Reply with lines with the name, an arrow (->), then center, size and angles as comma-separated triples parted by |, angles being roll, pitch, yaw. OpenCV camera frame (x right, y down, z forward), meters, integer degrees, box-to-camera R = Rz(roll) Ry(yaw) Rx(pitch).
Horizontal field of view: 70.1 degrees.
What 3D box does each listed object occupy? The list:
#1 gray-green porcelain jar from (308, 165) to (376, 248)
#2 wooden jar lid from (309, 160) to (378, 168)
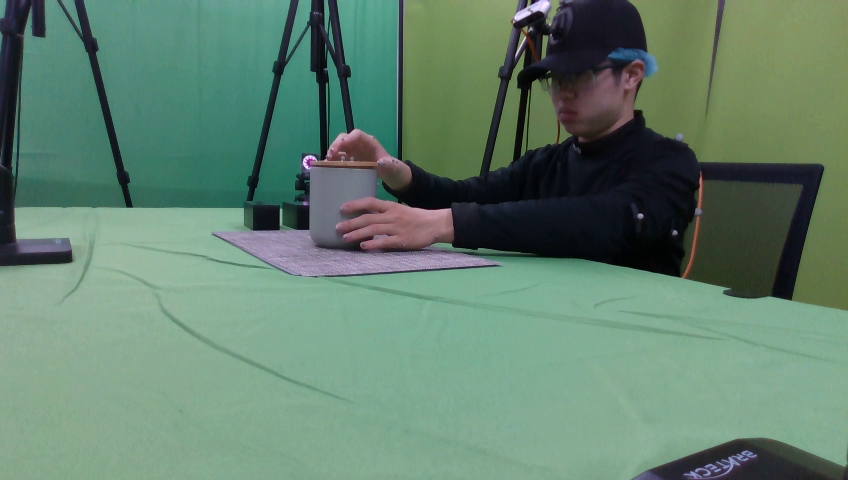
gray-green porcelain jar -> -0.131, -0.054, 0.965 | 0.106, 0.126, 0.106 | 2, 7, 0
wooden jar lid -> -0.127, -0.117, 0.957 | 0.108, 0.020, 0.108 | 1, 7, 0
